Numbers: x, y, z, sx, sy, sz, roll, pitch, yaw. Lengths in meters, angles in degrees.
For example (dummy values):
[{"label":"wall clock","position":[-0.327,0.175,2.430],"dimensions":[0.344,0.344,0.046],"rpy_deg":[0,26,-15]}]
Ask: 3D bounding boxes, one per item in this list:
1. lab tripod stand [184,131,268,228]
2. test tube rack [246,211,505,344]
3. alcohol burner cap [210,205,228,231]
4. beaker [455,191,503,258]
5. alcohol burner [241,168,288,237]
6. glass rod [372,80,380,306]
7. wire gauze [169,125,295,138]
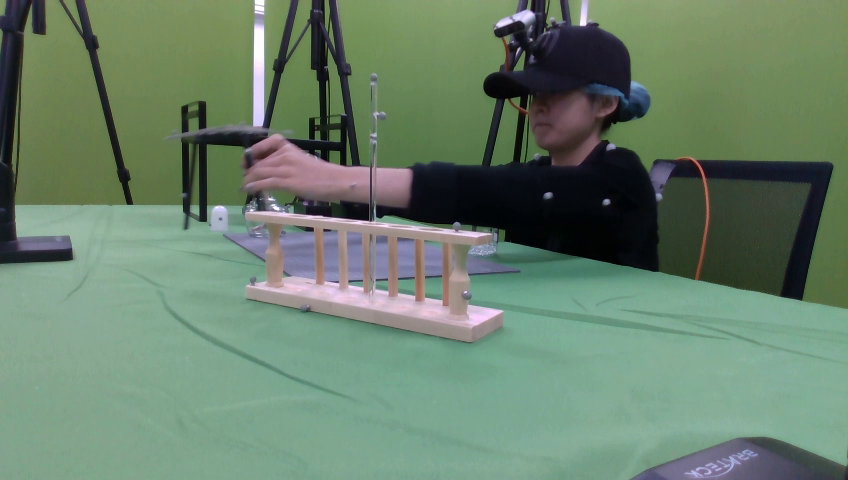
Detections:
[{"label":"lab tripod stand","position":[-0.270,-0.088,0.861],"dimensions":[0.148,0.131,0.148],"rpy_deg":[-4,8,1]},{"label":"test tube rack","position":[-0.049,0.025,0.547],"dimensions":[0.241,0.085,0.067],"rpy_deg":[7,8,29]},{"label":"alcohol burner cap","position":[-0.376,-0.040,1.107],"dimensions":[0.034,0.048,0.034],"rpy_deg":[2,7,0]},{"label":"beaker","position":[0.087,-0.025,0.955],"dimensions":[0.074,0.100,0.083],"rpy_deg":[-1,8,-26]},{"label":"alcohol burner","position":[-0.272,-0.064,1.036],"dimensions":[0.078,0.119,0.078],"rpy_deg":[4,6,0]},{"label":"glass rod","position":[-0.042,-0.039,0.531],"dimensions":[0.008,0.199,0.008],"rpy_deg":[0,2,0]},{"label":"wire gauze","position":[-0.268,-0.153,0.847],"dimensions":[0.121,0.011,0.125],"rpy_deg":[3,11,30]}]
